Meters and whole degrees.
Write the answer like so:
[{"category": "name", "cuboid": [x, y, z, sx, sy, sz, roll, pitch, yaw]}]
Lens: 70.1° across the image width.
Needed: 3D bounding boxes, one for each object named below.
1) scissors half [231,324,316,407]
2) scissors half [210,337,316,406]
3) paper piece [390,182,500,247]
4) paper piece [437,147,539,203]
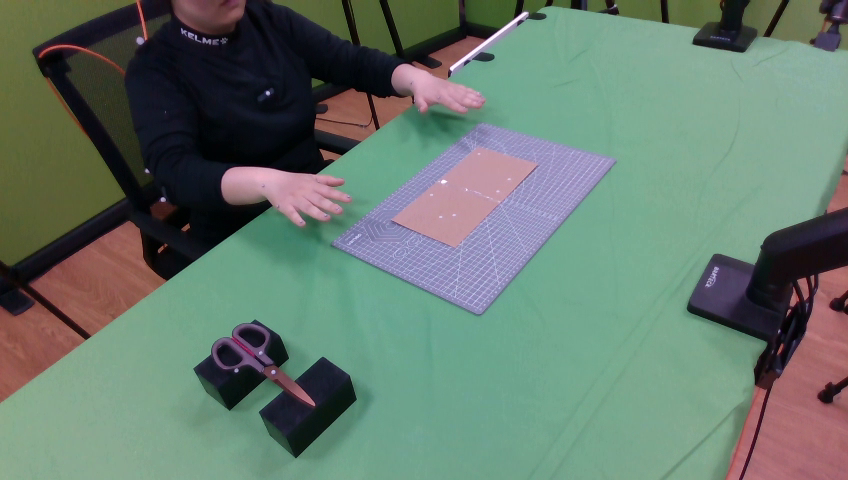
[{"category": "scissors half", "cuboid": [-0.185, 0.153, 0.748, 0.040, 0.013, 0.173, -32, 48, -28]}, {"category": "scissors half", "cuboid": [-0.198, 0.163, 0.736, 0.174, 0.013, 0.040, 20, 41, 25]}, {"category": "paper piece", "cuboid": [0.037, -0.048, 1.027, 0.134, 0.004, 0.136, 24, 48, 30]}, {"category": "paper piece", "cuboid": [0.117, -0.122, 1.104, 0.135, 0.009, 0.138, 26, 49, 28]}]
